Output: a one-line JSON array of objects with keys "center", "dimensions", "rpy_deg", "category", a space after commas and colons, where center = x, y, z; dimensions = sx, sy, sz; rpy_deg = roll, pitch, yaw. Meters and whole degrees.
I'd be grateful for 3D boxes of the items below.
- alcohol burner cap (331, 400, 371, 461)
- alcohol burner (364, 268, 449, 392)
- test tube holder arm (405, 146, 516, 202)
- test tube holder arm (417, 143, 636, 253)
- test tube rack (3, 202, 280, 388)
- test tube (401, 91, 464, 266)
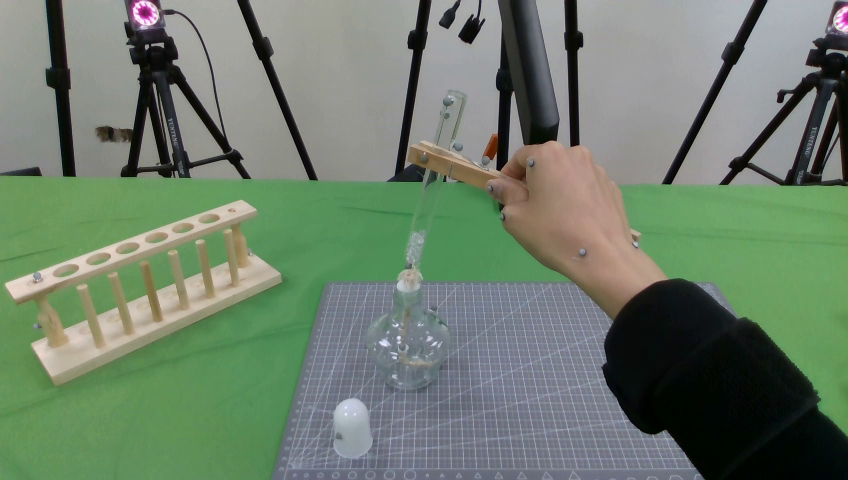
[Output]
[{"center": [-0.061, 0.151, 0.492], "dimensions": [0.034, 0.048, 0.033], "rpy_deg": [0, 31, 0], "category": "alcohol burner cap"}, {"center": [-0.016, 0.077, 0.546], "dimensions": [0.078, 0.120, 0.077], "rpy_deg": [0, 29, 0], "category": "alcohol burner"}, {"center": [0.027, -0.049, 0.450], "dimensions": [0.087, 0.015, 0.010], "rpy_deg": [22, 30, 15], "category": "test tube holder arm"}, {"center": [0.068, -0.034, 0.440], "dimensions": [0.177, 0.015, 0.013], "rpy_deg": [26, 32, 22], "category": "test tube holder arm"}, {"center": [-0.277, 0.047, 0.629], "dimensions": [0.243, 0.086, 0.066], "rpy_deg": [-26, 40, -36], "category": "test tube rack"}, {"center": [0.005, -0.042, 0.471], "dimensions": [0.017, 0.151, 0.017], "rpy_deg": [12, 31, -7], "category": "test tube"}]
